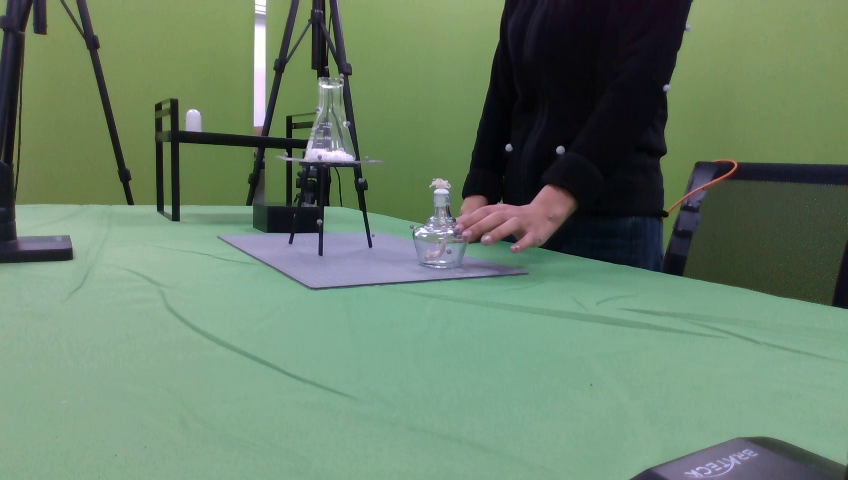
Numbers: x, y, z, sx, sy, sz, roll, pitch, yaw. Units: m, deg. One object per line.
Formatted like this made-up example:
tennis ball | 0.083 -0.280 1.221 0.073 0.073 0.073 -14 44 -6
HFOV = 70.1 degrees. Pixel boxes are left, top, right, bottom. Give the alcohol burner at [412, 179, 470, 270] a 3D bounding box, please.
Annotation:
alcohol burner | 0.022 -0.021 0.805 0.078 0.119 0.078 1 8 0

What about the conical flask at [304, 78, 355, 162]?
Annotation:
conical flask | -0.139 -0.175 0.893 0.075 0.122 0.075 2 8 0

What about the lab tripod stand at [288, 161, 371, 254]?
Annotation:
lab tripod stand | -0.148 -0.052 0.909 0.148 0.131 0.148 1 8 0

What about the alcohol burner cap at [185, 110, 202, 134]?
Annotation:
alcohol burner cap | -0.470 -0.242 1.234 0.034 0.048 0.034 3 7 0

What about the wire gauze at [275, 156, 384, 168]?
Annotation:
wire gauze | -0.142 -0.116 0.900 0.122 0.011 0.124 -1 5 -37
